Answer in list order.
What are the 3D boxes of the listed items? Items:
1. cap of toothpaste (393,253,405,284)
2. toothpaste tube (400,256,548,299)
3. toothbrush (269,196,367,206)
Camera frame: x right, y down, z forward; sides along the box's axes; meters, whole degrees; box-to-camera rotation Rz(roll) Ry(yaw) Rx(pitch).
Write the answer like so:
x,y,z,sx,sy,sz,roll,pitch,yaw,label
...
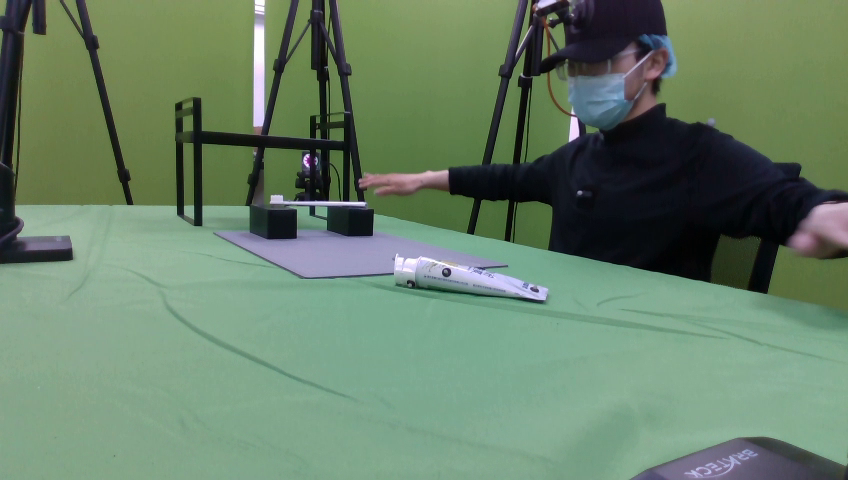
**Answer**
x,y,z,sx,sy,sz,roll,pitch,yaw,label
-0.028,0.032,0.678,0.011,0.037,0.037,1,8,3,cap of toothpaste
0.051,0.044,0.659,0.165,0.034,0.055,8,15,12,toothpaste tube
-0.187,-0.069,1.088,0.183,0.016,0.014,0,-4,-28,toothbrush
